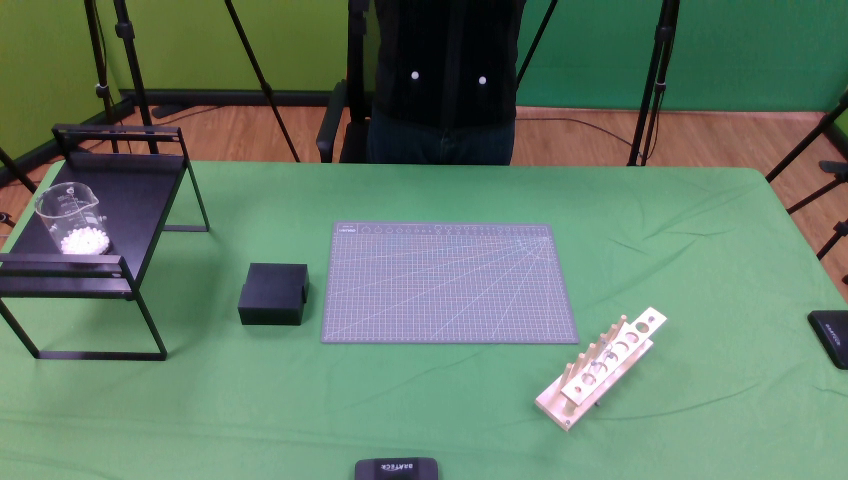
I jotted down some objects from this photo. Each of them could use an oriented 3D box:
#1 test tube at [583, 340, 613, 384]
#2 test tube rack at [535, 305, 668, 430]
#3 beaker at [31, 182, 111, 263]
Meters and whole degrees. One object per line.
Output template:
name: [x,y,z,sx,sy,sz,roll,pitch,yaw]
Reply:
test tube: [0.252,0.200,0.907,0.017,0.151,0.017,5,44,-4]
test tube rack: [0.290,0.193,0.984,0.242,0.085,0.066,-32,57,-30]
beaker: [-0.502,-0.022,0.877,0.084,0.101,0.073,-2,47,-7]
